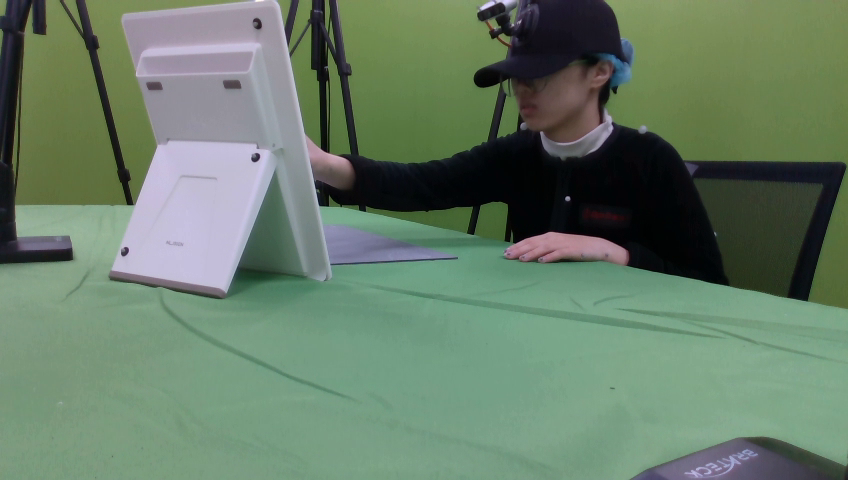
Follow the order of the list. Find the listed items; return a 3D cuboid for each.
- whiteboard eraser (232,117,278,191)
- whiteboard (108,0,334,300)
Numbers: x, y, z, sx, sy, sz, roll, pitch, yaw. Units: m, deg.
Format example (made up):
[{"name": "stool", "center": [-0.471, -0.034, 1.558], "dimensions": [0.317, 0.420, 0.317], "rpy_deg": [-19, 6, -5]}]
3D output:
[{"name": "whiteboard eraser", "center": [-0.226, -0.110, 0.810], "dimensions": [0.055, 0.042, 0.112], "rpy_deg": [28, -29, 2]}, {"name": "whiteboard", "center": [-0.248, -0.072, 0.624], "dimensions": [0.216, 0.305, 0.144], "rpy_deg": [6, 28, 26]}]
